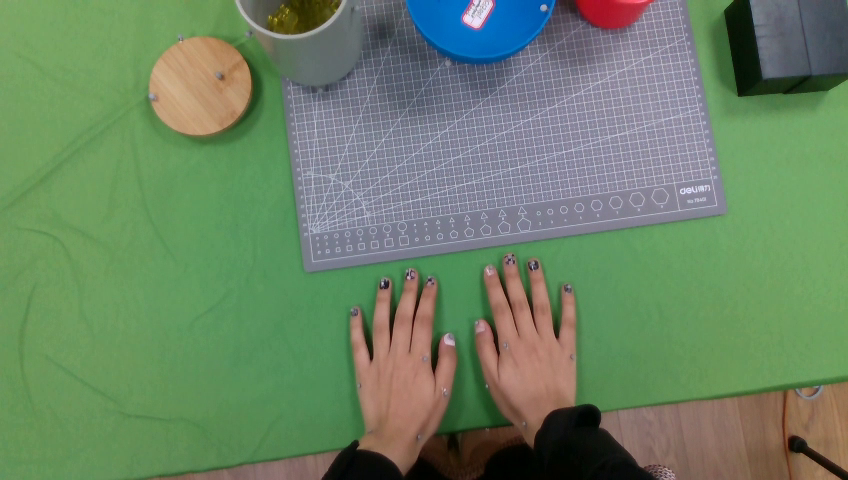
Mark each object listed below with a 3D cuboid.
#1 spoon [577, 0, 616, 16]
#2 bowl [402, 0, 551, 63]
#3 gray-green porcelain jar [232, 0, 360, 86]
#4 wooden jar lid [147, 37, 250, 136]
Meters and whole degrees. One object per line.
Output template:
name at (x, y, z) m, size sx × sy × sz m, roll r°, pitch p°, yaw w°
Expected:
spoon at (0.225, -0.305, 0.599) m, size 0.041 × 0.021 × 0.194 m, roll 47°, pitch 129°, yaw 6°
bowl at (0.051, -0.245, 0.625) m, size 0.151 × 0.077 × 0.151 m, roll 0°, pitch 83°, yaw 0°
gray-green porcelain jar at (-0.120, -0.219, 0.598) m, size 0.106 × 0.127 × 0.105 m, roll 0°, pitch 83°, yaw 0°
wooden jar lid at (-0.239, -0.162, 0.648) m, size 0.108 × 0.021 × 0.108 m, roll 0°, pitch 84°, yaw 1°
